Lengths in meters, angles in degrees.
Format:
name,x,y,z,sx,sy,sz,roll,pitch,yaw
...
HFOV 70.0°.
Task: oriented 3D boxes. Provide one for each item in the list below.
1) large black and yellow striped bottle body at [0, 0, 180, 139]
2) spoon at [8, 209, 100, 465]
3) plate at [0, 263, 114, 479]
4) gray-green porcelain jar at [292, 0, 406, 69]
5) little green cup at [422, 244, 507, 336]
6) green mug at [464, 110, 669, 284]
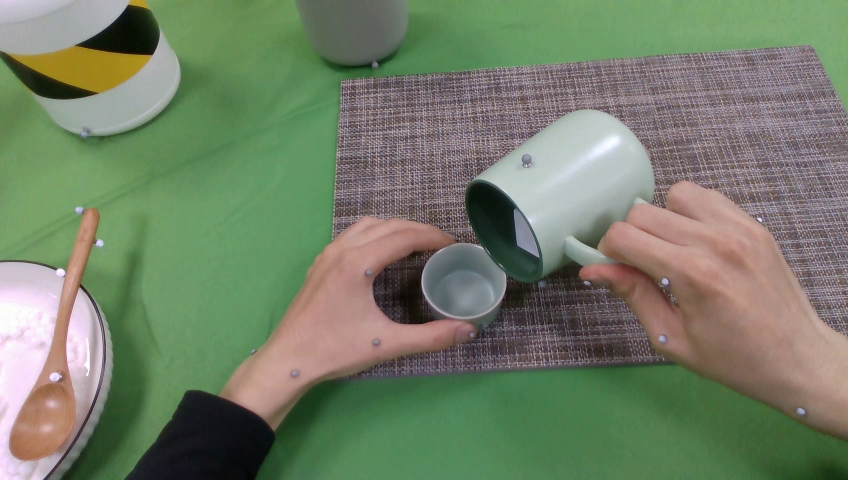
name,x,y,z,sx,sy,sz,roll,pitch,yaw
large black and yellow striped bottle body,-0.312,-0.193,0.527,0.131,0.185,0.129,-2,59,4
spoon,-0.259,0.061,0.439,0.041,0.022,0.192,-2,67,2
plate,-0.320,0.114,0.430,0.209,0.038,0.207,-2,59,3
gray-green porcelain jar,-0.072,-0.236,0.569,0.106,0.127,0.105,-2,59,3
little green cup,0.028,0.039,0.443,0.061,0.039,0.061,1,54,-1
green mug,0.102,-0.023,0.405,0.105,0.093,0.124,-33,42,-21
